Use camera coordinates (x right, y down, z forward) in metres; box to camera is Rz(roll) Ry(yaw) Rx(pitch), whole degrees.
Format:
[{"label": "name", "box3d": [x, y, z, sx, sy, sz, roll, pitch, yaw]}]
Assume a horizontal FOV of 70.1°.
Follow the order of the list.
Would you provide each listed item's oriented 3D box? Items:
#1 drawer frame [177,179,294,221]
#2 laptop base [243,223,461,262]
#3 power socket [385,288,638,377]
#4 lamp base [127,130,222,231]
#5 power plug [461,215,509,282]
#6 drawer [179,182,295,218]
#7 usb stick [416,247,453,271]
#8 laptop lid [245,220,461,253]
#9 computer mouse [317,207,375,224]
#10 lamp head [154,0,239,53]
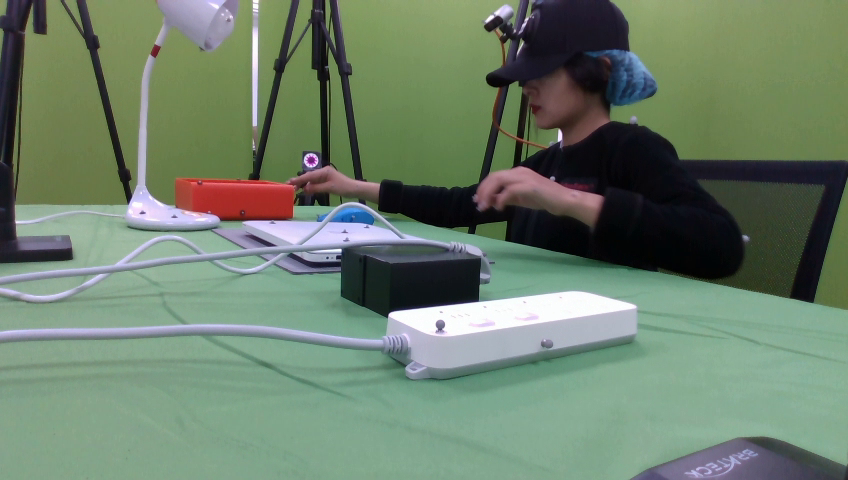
[{"label": "drawer frame", "box3d": [-0.422, -0.092, 1.352, 0.215, 0.082, 0.200, -3, 10, -32]}, {"label": "laptop base", "box3d": [-0.126, 0.002, 0.946, 0.237, 0.023, 0.352, 2, 6, -31]}, {"label": "power socket", "box3d": [0.074, 0.064, 0.461, 0.228, 0.032, 0.072, -3, 8, -34]}, {"label": "lamp base", "box3d": [-0.469, -0.112, 1.108, 0.179, 0.180, 0.160, 0, 7, 3]}, {"label": "power plug", "box3d": [0.064, 0.012, 0.625, 0.053, 0.072, 0.035, -1, 39, -4]}, {"label": "drawer", "box3d": [-0.420, -0.091, 1.354, 0.213, 0.073, 0.193, -3, 9, -32]}, {"label": "usb stick", "box3d": [0.009, 0.024, 0.755, 0.027, 0.021, 0.059, 37, -17, -16]}, {"label": "laptop lid", "box3d": [-0.124, -0.009, 0.945, 0.243, 0.013, 0.355, 1, 7, -29]}, {"label": "computer mouse", "box3d": [-0.163, -0.048, 1.264, 0.118, 0.041, 0.062, -6, 12, -29]}, {"label": "lamp head", "box3d": [-0.406, -0.402, 1.059, 0.123, 0.112, 0.112, 25, 6, -6]}]
